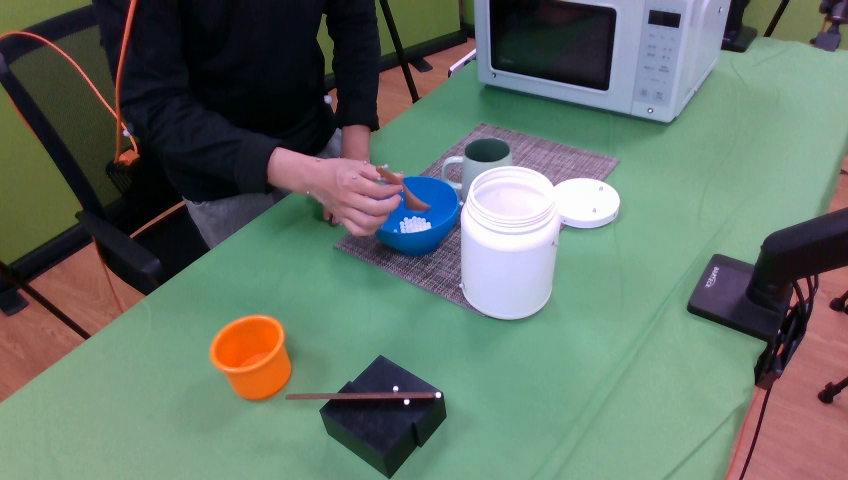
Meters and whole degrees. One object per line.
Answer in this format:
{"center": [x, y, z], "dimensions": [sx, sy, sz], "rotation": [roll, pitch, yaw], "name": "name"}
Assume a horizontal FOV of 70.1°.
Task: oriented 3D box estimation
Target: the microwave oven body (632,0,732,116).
{"center": [0.377, -0.462, 1.267], "dimensions": [0.438, 0.261, 0.327], "rotation": [21, 48, 30], "name": "microwave oven body"}

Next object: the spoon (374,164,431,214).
{"center": [-0.033, -0.069, 0.840], "dimensions": [0.041, 0.195, 0.021], "rotation": [3, 74, 19], "name": "spoon"}

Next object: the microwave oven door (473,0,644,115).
{"center": [0.257, -0.396, 1.199], "dimensions": [0.353, 0.245, 0.039], "rotation": [21, 48, 29], "name": "microwave oven door"}

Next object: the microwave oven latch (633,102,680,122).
{"center": [0.444, -0.249, 1.157], "dimensions": [0.078, 0.029, 0.030], "rotation": [21, 49, 30], "name": "microwave oven latch"}

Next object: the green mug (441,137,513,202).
{"center": [0.091, -0.108, 1.012], "dimensions": [0.125, 0.105, 0.092], "rotation": [2, 42, 11], "name": "green mug"}

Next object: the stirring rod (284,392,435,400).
{"center": [-0.075, 0.180, 0.698], "dimensions": [0.176, 0.006, 0.014], "rotation": [-2, 6, 7], "name": "stirring rod"}

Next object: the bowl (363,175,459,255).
{"center": [-0.016, -0.029, 0.955], "dimensions": [0.151, 0.077, 0.150], "rotation": [-4, 40, 3], "name": "bowl"}

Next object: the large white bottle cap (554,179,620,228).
{"center": [0.265, -0.062, 1.001], "dimensions": [0.115, 0.018, 0.114], "rotation": [-3, 41, 3], "name": "large white bottle cap"}

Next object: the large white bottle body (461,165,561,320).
{"center": [0.115, 0.004, 0.816], "dimensions": [0.130, 0.185, 0.130], "rotation": [-2, 43, 2], "name": "large white bottle body"}
